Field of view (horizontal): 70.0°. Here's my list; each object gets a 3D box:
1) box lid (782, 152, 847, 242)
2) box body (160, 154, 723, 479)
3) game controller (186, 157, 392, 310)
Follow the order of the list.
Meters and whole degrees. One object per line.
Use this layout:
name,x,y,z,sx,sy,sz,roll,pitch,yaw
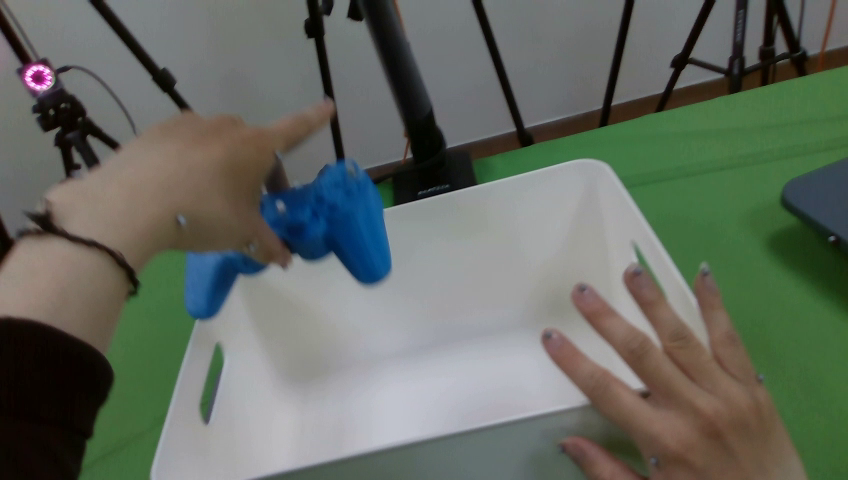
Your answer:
box lid,0.525,-0.004,0.491,0.263,0.015,0.367,-21,37,-6
box body,0.015,0.095,0.503,0.364,0.162,0.251,-14,37,4
game controller,-0.100,-0.010,0.433,0.155,0.052,0.096,-11,48,12
